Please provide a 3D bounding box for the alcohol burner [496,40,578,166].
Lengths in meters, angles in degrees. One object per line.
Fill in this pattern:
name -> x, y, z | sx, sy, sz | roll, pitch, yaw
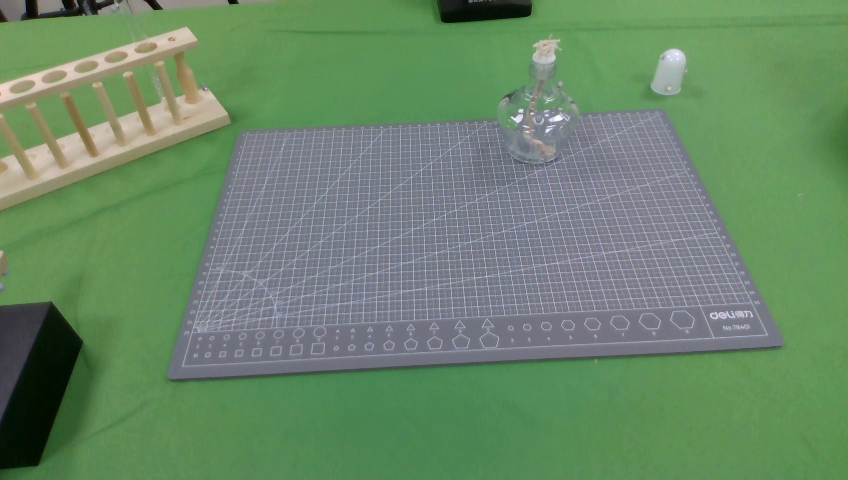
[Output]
alcohol burner -> 0.107, -0.130, 0.566 | 0.078, 0.120, 0.077 | -1, 45, 1

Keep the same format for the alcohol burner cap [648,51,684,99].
alcohol burner cap -> 0.267, -0.181, 0.660 | 0.034, 0.048, 0.033 | -2, 46, 3

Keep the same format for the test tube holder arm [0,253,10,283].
test tube holder arm -> -0.312, 0.078, 0.394 | 0.013, 0.015, 0.176 | 1, 47, -8

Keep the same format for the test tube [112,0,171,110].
test tube -> -0.281, -0.196, 0.602 | 0.017, 0.152, 0.017 | -4, 44, 5

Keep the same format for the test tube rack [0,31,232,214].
test tube rack -> -0.328, -0.120, 0.601 | 0.242, 0.086, 0.066 | -27, 51, -21
